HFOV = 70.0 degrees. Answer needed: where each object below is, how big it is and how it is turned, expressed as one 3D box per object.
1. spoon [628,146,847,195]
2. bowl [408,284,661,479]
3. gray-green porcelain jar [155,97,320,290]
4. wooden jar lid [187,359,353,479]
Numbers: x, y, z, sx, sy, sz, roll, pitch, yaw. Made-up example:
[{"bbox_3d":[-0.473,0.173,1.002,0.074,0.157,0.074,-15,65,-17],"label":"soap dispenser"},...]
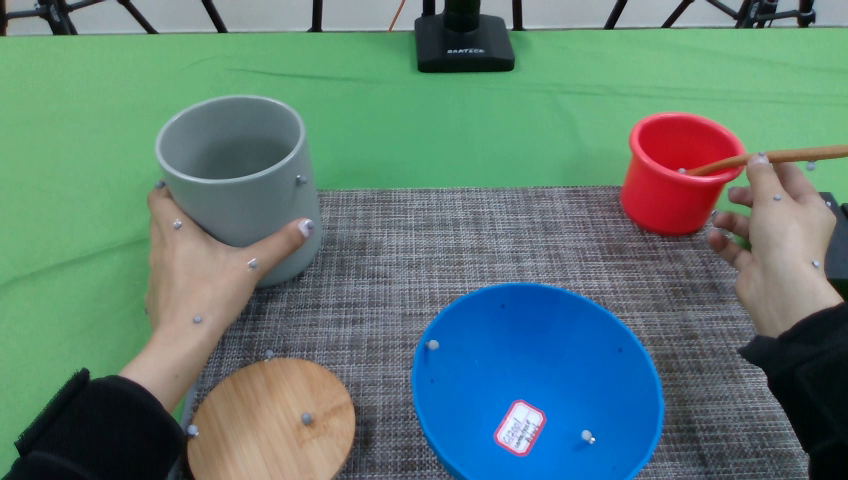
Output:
[{"bbox_3d":[0.254,-0.059,0.509,0.041,0.193,0.022,-36,103,-27],"label":"spoon"},{"bbox_3d":[0.065,0.110,0.390,0.151,0.077,0.150,1,47,-1],"label":"bowl"},{"bbox_3d":[-0.140,-0.031,0.482,0.106,0.127,0.105,1,47,-1],"label":"gray-green porcelain jar"},{"bbox_3d":[-0.101,0.131,0.406,0.108,0.021,0.107,0,46,0],"label":"wooden jar lid"}]
